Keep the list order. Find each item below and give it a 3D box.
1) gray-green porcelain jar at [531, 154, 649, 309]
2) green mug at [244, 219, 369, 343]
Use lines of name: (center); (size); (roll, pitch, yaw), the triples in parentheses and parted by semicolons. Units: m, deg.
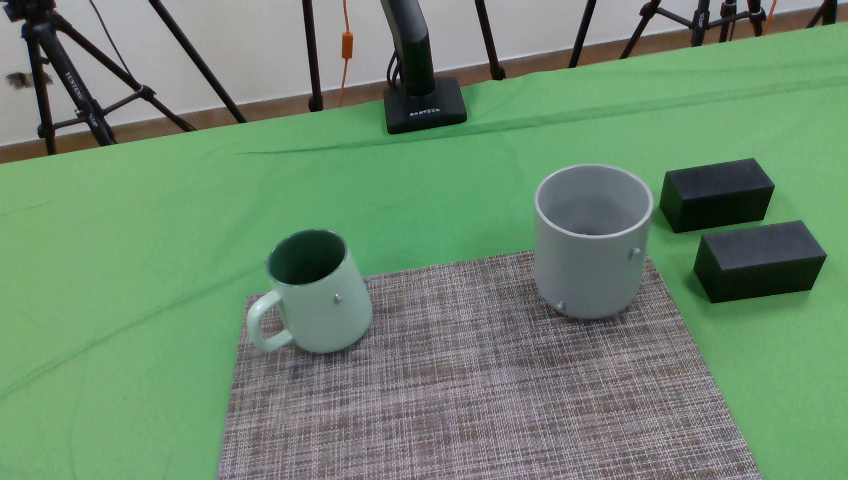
gray-green porcelain jar: (0.158, -0.003, 0.592); (0.106, 0.128, 0.105); (-5, 45, 6)
green mug: (-0.120, 0.052, 0.602); (0.125, 0.106, 0.091); (-38, 52, -25)
